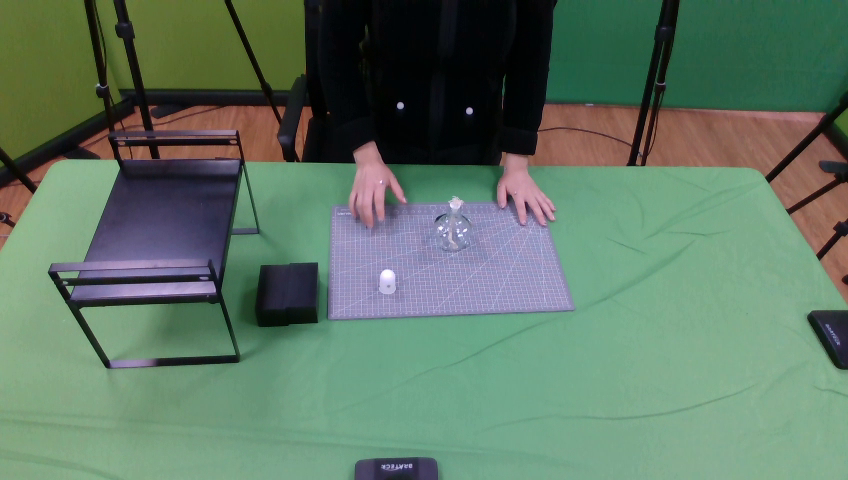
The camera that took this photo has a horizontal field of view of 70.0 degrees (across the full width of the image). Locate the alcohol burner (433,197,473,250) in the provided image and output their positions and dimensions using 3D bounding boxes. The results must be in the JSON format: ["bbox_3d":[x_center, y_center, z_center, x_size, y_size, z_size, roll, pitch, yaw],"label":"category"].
[{"bbox_3d":[0.058,-0.038,1.169,0.078,0.119,0.077,3,45,-3],"label":"alcohol burner"}]

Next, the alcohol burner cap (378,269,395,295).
[{"bbox_3d":[-0.068,0.073,1.103,0.034,0.048,0.033,3,45,-3],"label":"alcohol burner cap"}]
